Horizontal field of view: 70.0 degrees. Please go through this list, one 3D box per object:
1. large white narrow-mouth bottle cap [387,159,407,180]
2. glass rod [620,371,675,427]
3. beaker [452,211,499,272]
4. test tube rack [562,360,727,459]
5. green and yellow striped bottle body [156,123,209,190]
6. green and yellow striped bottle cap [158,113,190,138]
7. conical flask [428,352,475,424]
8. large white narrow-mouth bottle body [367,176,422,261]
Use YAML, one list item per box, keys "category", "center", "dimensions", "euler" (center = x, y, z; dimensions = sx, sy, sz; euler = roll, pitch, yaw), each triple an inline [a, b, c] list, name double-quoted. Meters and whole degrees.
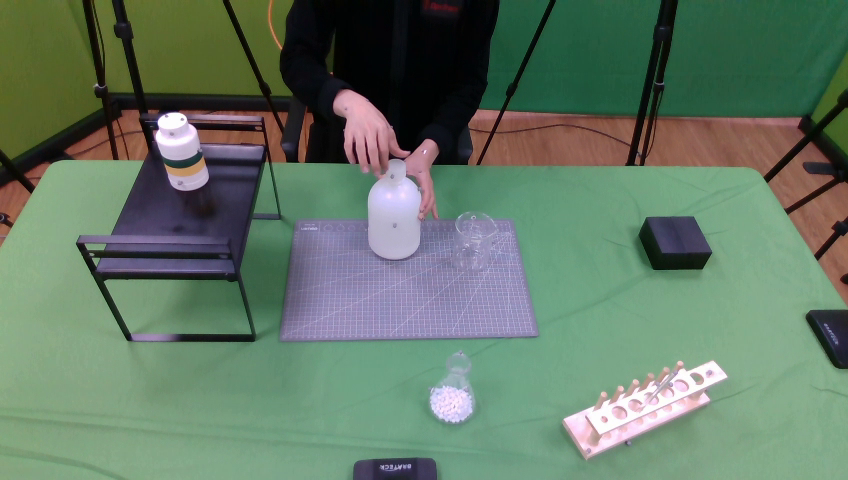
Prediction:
- category: "large white narrow-mouth bottle cap"
  center: [-0.047, -0.124, 1.062]
  dimensions: [0.038, 0.024, 0.037]
  euler: [3, 45, -3]
- category: "glass rod"
  center: [0.316, 0.230, 0.863]
  dimensions: [0.008, 0.200, 0.008]
  euler: [3, 54, -3]
- category: "beaker"
  center: [0.093, 0.006, 1.141]
  dimensions: [0.084, 0.101, 0.073]
  euler: [8, 46, 3]
- category: "test tube rack"
  center: [0.341, 0.247, 0.940]
  dimensions: [0.243, 0.085, 0.066]
  euler: [-16, 49, -18]
- category: "green and yellow striped bottle body"
  center: [-0.395, -0.145, 0.989]
  dimensions: [0.063, 0.120, 0.063]
  euler: [2, 46, -2]
- category: "green and yellow striped bottle cap"
  center: [-0.393, -0.180, 0.951]
  dimensions: [0.045, 0.020, 0.045]
  euler: [2, 44, -2]
- category: "conical flask"
  center: [0.046, 0.220, 0.920]
  dimensions: [0.075, 0.122, 0.075]
  euler: [2, 46, -2]
- category: "large white narrow-mouth bottle body"
  center: [-0.055, -0.058, 1.128]
  dimensions: [0.102, 0.195, 0.101]
  euler: [3, 45, -3]
